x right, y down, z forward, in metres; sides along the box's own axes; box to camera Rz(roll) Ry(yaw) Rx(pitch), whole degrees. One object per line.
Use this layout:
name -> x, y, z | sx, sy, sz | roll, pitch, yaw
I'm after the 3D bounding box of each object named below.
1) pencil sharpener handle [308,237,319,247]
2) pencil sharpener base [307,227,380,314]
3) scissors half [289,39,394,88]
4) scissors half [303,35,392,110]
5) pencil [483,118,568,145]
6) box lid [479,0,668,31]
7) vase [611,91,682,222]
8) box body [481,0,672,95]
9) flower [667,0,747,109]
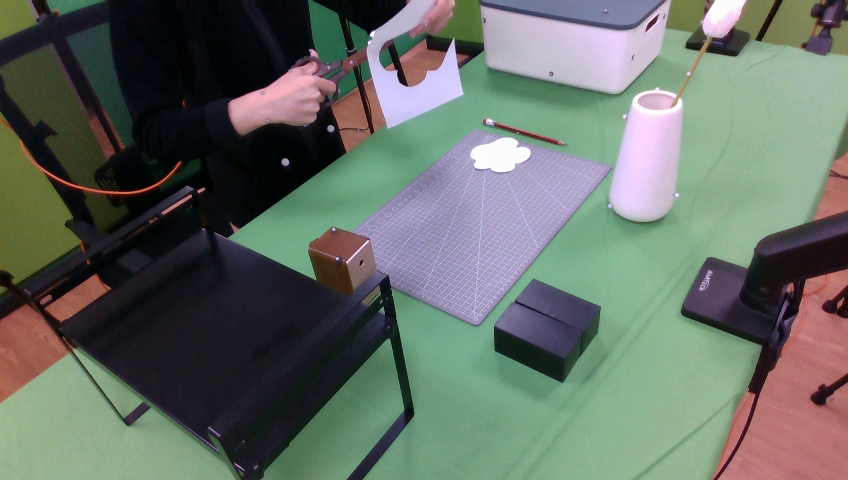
pencil sharpener handle -> -0.159, 0.017, 0.892 | 0.030, 0.068, 0.036 | 18, 60, 28
pencil sharpener base -> -0.116, 0.043, 0.875 | 0.076, 0.107, 0.061 | 18, 47, 28
scissors half -> -0.129, -0.279, 0.937 | 0.175, 0.040, 0.013 | -17, 28, 4
scissors half -> -0.118, -0.262, 0.946 | 0.175, 0.040, 0.012 | -38, 19, 13
pencil -> 0.202, -0.217, 1.212 | 0.192, 0.012, 0.012 | 24, 49, 29
box lid -> 0.335, -0.536, 1.331 | 0.368, 0.015, 0.264 | 23, 49, 30
vase -> 0.348, -0.125, 0.935 | 0.098, 0.201, 0.097 | -3, 40, 3
box body -> 0.341, -0.480, 1.381 | 0.361, 0.161, 0.255 | 22, 48, 30
flower -> 0.354, -0.187, 0.879 | 0.038, 0.362, 0.044 | 30, 48, 14
